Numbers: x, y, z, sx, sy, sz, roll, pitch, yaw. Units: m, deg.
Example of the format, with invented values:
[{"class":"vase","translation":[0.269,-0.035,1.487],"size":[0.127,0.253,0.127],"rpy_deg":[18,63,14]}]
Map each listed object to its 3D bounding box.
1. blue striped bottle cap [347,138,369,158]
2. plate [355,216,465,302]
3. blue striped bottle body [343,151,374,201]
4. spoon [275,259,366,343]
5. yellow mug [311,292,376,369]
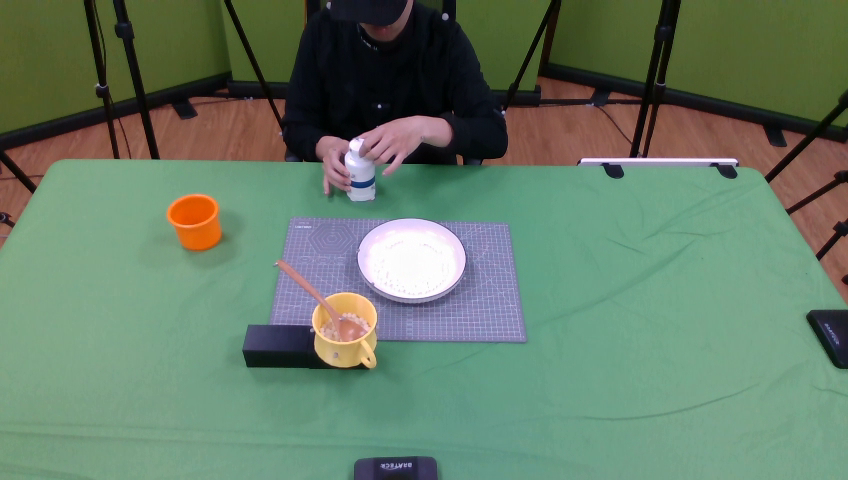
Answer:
[{"class":"blue striped bottle cap","translation":[-0.132,-0.185,1.215],"size":[0.044,0.021,0.044],"rpy_deg":[3,43,-2]},{"class":"plate","translation":[-0.027,0.039,1.144],"size":[0.208,0.039,0.206],"rpy_deg":[2,46,-2]},{"class":"blue striped bottle body","translation":[-0.136,-0.145,1.257],"size":[0.063,0.121,0.062],"rpy_deg":[2,47,-2]},{"class":"spoon","translation":[-0.161,0.098,0.946],"size":[0.194,0.021,0.041],"rpy_deg":[48,56,-5]},{"class":"yellow mug","translation":[-0.115,0.150,0.945],"size":[0.100,0.064,0.130],"rpy_deg":[-29,57,-28]}]
